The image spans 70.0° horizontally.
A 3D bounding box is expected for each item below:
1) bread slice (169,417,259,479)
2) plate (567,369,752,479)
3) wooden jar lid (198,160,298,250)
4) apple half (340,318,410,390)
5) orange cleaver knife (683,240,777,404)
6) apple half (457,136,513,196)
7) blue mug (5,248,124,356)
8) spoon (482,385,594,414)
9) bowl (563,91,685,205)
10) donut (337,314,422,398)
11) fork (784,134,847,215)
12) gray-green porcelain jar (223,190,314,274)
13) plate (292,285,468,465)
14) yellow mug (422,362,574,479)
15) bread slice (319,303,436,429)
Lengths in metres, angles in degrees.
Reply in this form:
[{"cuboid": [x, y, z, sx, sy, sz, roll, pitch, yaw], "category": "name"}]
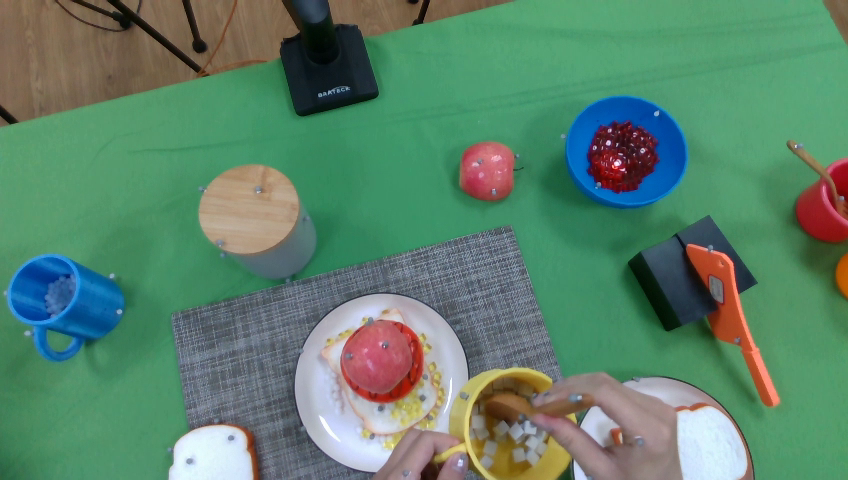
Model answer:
[{"cuboid": [-0.246, 0.274, 0.703, 0.105, 0.019, 0.131, -7, 75, -3], "category": "bread slice"}, {"cuboid": [0.267, 0.257, 0.701, 0.209, 0.038, 0.208, 0, 74, 0], "category": "plate"}, {"cuboid": [-0.194, -0.038, 0.674, 0.108, 0.021, 0.107, 1, 71, -2], "category": "wooden jar lid"}, {"cuboid": [-0.054, 0.125, 0.668, 0.081, 0.033, 0.081, -2, 70, 7], "category": "apple half"}, {"cuboid": [0.364, 0.096, 0.726, 0.012, 0.077, 0.212, -25, 97, -14], "category": "orange cleaver knife"}, {"cuboid": [0.081, -0.103, 0.799, 0.074, 0.053, 0.080, 6, 74, 4], "category": "apple half"}, {"cuboid": [-0.424, 0.079, 0.716, 0.082, 0.106, 0.116, 5, 73, 2], "category": "blue mug"}, {"cuboid": [0.086, 0.125, 0.466, 0.042, 0.194, 0.021, 19, 73, -6], "category": "spoon"}, {"cuboid": [0.249, -0.107, 0.787, 0.151, 0.077, 0.150, 0, 74, 0], "category": "bowl"}, {"cuboid": [-0.051, 0.135, 0.704, 0.099, 0.048, 0.098, 0, 74, 0], "category": "donut"}, {"cuboid": [0.490, -0.077, 0.741, 0.209, 0.018, 0.028, 28, 69, -35], "category": "fork"}, {"cuboid": [-0.193, -0.019, 0.736, 0.106, 0.127, 0.105, 0, 73, 0], "category": "gray-green porcelain jar"}, {"cuboid": [-0.052, 0.159, 0.726, 0.208, 0.039, 0.206, 0, 74, 0], "category": "plate"}, {"cuboid": [0.060, 0.165, 0.535, 0.131, 0.064, 0.099, -19, 81, -11], "category": "yellow mug"}, {"cuboid": [-0.047, 0.156, 0.728, 0.107, 0.018, 0.133, -31, 75, -8], "category": "bread slice"}]
